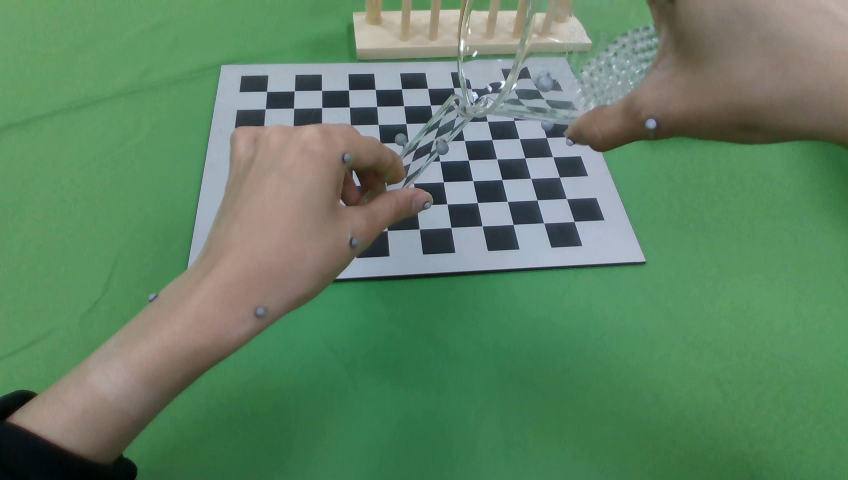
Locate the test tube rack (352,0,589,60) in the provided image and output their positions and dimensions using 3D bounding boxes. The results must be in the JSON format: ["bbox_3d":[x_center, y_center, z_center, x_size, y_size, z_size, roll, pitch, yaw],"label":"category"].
[{"bbox_3d":[0.050,-0.241,0.609,0.243,0.086,0.066,-4,52,-7],"label":"test tube rack"}]

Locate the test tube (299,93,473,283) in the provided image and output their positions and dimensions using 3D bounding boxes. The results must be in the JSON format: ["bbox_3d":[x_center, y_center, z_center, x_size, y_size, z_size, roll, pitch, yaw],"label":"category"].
[{"bbox_3d":[-0.027,-0.022,0.332,0.017,0.150,0.017,31,34,-23],"label":"test tube"}]

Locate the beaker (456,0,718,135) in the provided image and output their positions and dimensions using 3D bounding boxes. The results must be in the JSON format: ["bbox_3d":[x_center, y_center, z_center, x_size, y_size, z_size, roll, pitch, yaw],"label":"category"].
[{"bbox_3d":[0.073,-0.087,0.280,0.101,0.084,0.073,4,51,-18],"label":"beaker"}]
